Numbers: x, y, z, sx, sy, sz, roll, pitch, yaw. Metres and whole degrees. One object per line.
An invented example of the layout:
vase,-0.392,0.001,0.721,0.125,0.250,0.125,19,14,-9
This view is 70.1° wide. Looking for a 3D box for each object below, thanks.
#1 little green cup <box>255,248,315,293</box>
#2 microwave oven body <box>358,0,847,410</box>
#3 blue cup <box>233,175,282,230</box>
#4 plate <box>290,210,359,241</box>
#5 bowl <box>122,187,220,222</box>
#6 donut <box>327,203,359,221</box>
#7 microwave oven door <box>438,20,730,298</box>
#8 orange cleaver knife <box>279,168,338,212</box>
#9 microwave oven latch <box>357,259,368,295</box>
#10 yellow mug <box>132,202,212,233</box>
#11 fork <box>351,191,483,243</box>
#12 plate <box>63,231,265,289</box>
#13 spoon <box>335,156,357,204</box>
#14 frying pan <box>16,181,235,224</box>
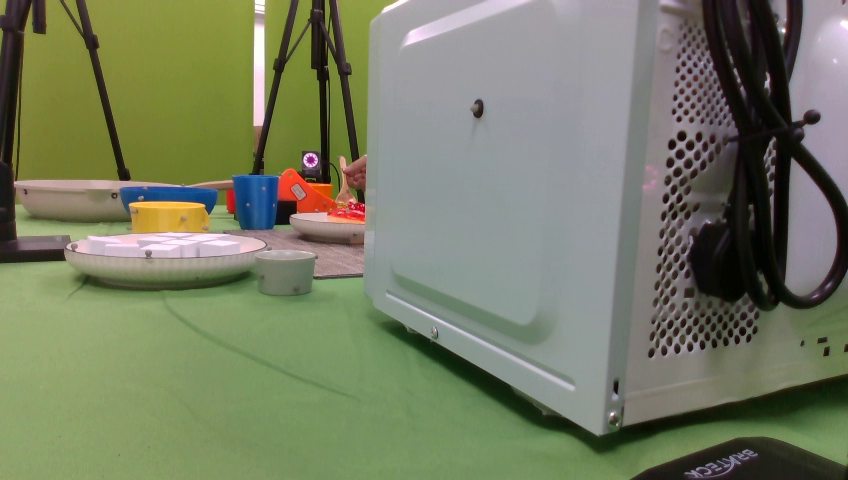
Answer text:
little green cup,-0.144,0.031,0.627,0.061,0.038,0.061,2,6,0
microwave oven body,0.210,-0.051,0.471,0.444,0.260,0.324,-1,7,-28
blue cup,-0.314,-0.071,1.141,0.093,0.100,0.092,0,7,0
plate,-0.127,-0.025,1.051,0.209,0.038,0.209,3,7,0
bowl,-0.421,-0.046,1.012,0.151,0.077,0.151,2,7,0
donut,-0.120,-0.037,1.055,0.099,0.048,0.099,5,7,0
microwave oven door,0.181,-0.076,0.618,0.358,0.243,0.039,-2,8,-28
orange cleaver knife,-0.236,-0.084,1.332,0.212,0.077,0.012,31,-9,-31
microwave oven latch,-0.019,0.031,0.529,0.079,0.029,0.030,-1,7,-26
yellow mug,-0.356,-0.020,0.878,0.099,0.064,0.131,5,7,21
fork,-0.011,-0.033,0.888,0.207,0.018,0.028,-24,-13,3
plate,-0.288,0.021,0.687,0.208,0.039,0.207,2,8,0
spoon,-0.161,-0.125,1.239,0.042,0.021,0.193,-2,41,-7
frying pan,-0.554,-0.097,1.266,0.490,0.102,0.305,-10,13,-24
